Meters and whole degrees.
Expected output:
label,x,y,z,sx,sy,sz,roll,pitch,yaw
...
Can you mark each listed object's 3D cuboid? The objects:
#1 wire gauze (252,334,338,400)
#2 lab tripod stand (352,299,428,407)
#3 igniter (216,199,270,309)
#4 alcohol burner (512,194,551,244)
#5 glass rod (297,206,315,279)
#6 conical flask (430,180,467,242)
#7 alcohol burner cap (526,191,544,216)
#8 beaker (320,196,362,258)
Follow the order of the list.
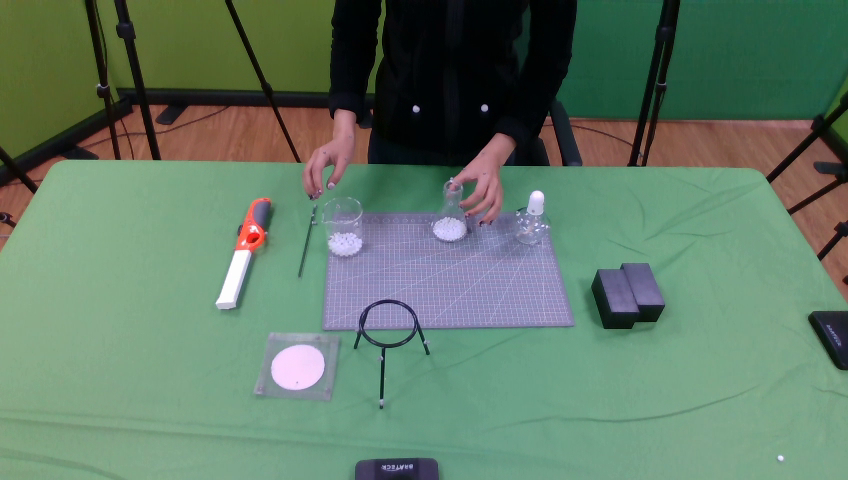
label,x,y,z,sx,sy,sz,roll,pitch,yaw
wire gauze,-0.209,0.204,0.996,0.125,0.011,0.120,3,45,1
lab tripod stand,-0.056,0.166,0.958,0.148,0.132,0.147,3,44,-2
igniter,-0.342,0.016,1.153,0.057,0.025,0.275,-3,45,7
alcohol burner,0.215,-0.048,1.196,0.078,0.119,0.077,4,46,-4
glass rod,-0.231,0.000,1.191,0.008,0.008,0.198,2,46,-1
conical flask,0.052,-0.059,1.189,0.075,0.122,0.075,2,46,-2
alcohol burner cap,0.216,-0.073,1.170,0.034,0.048,0.033,0,42,1
beaker,-0.156,-0.021,1.149,0.084,0.101,0.073,-30,54,-28
